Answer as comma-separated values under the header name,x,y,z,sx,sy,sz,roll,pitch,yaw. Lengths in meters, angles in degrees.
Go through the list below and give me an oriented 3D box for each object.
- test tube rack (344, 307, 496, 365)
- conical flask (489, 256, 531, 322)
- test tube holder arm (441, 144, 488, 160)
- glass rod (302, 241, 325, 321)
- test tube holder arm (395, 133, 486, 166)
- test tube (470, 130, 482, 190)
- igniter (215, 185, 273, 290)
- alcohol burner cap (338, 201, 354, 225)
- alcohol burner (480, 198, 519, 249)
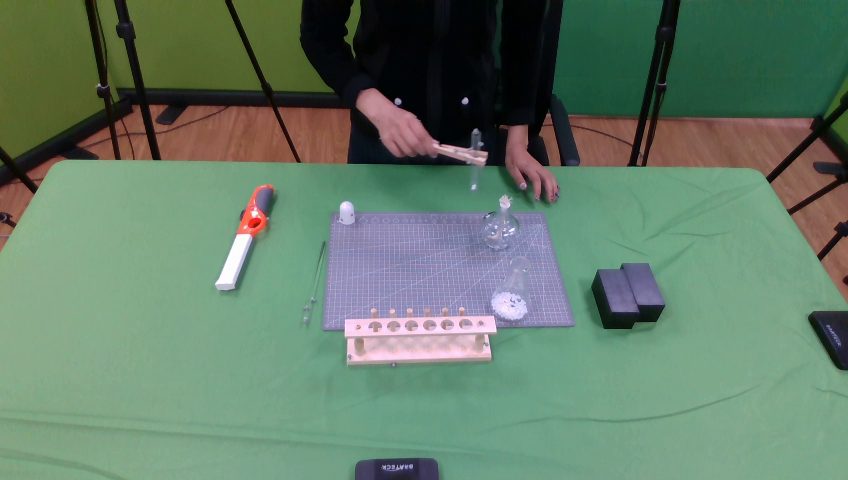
name,x,y,z,sx,sy,sz,roll,pitch,yaw
test tube rack,-0.009,0.154,1.007,0.242,0.085,0.066,-1,46,-5
conical flask,0.158,0.081,1.061,0.075,0.122,0.075,2,46,-2
test tube holder arm,0.073,-0.161,1.114,0.088,0.015,0.010,11,51,7
glass rod,-0.203,0.071,1.124,0.008,0.008,0.198,4,43,1
test tube holder arm,0.029,-0.168,1.118,0.178,0.015,0.013,16,51,12
test tube,0.095,-0.144,1.118,0.017,0.151,0.017,-1,54,1
igniter,-0.348,-0.014,1.182,0.057,0.025,0.275,-1,45,8
alcohol burner cap,-0.159,-0.056,1.224,0.034,0.048,0.033,2,46,-2
alcohol burner,0.150,-0.039,1.182,0.078,0.119,0.077,3,47,-4
